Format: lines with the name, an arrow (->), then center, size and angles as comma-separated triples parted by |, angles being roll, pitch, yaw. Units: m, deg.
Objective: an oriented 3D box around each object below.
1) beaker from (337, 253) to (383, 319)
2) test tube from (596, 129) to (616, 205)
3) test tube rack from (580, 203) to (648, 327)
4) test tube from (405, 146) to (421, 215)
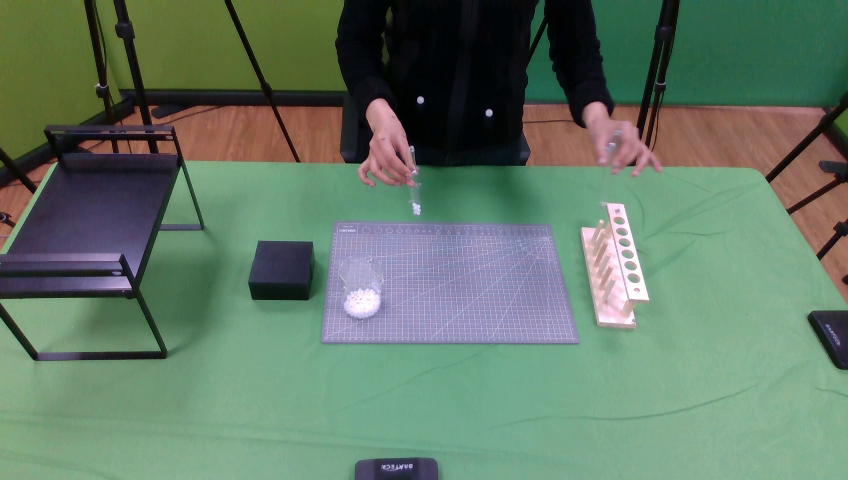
beaker -> -0.108, 0.084, 1.052 | 0.084, 0.101, 0.074 | 25, 50, 17
test tube -> 0.308, -0.120, 1.028 | 0.017, 0.151, 0.017 | -3, 41, 2
test tube rack -> 0.352, 0.041, 1.143 | 0.067, 0.085, 0.241 | 4, 46, 0
test tube -> -0.019, -0.100, 1.054 | 0.017, 0.151, 0.017 | -3, 45, 3
